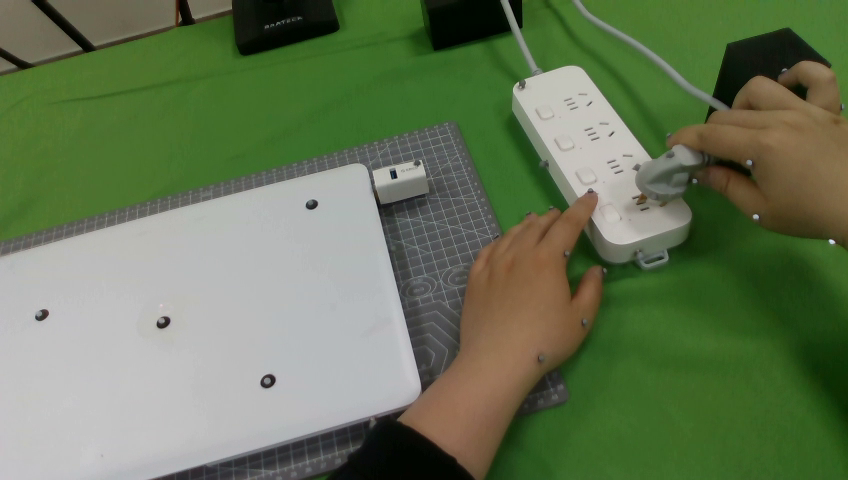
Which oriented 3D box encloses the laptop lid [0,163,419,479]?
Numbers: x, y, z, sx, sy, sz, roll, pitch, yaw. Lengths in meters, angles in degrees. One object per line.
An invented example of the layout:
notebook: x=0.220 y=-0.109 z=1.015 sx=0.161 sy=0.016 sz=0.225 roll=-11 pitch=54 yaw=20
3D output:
laptop lid: x=-0.197 y=0.066 z=0.462 sx=0.357 sy=0.013 sz=0.239 roll=-14 pitch=54 yaw=-1

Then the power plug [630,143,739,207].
power plug: x=0.188 y=-0.044 z=0.442 sx=0.072 sy=0.053 sz=0.035 roll=3 pitch=56 yaw=0

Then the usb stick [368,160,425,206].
usb stick: x=-0.030 y=-0.047 z=0.519 sx=0.059 sy=0.027 sz=0.021 roll=-16 pitch=51 yaw=1

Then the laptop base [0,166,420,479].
laptop base: x=-0.196 y=0.072 z=0.473 sx=0.354 sy=0.023 sz=0.233 roll=-16 pitch=56 yaw=-3

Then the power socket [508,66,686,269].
power socket: x=0.139 y=-0.072 z=0.516 sx=0.072 sy=0.033 sz=0.224 roll=-17 pitch=52 yaw=-4
